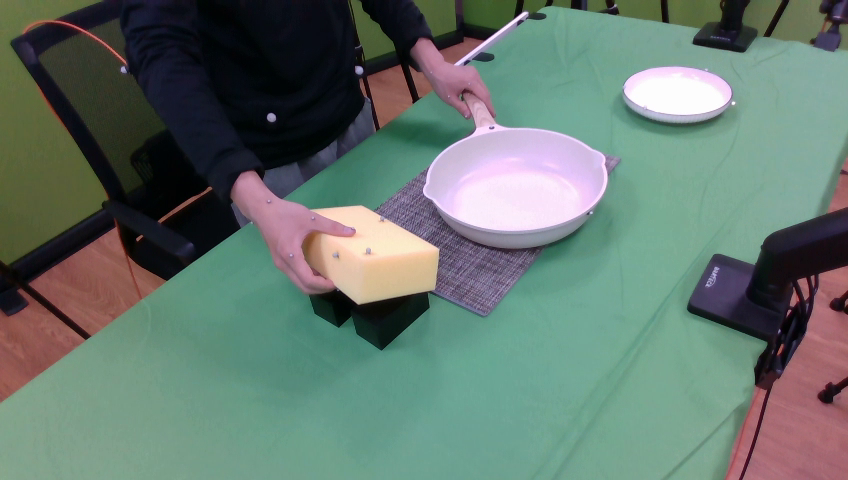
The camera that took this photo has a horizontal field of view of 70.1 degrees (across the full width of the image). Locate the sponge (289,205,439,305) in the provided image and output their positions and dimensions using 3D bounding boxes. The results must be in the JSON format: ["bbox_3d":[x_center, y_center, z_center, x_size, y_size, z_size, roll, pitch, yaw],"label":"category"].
[{"bbox_3d":[-0.089,0.013,0.831,0.119,0.061,0.205,-9,24,-36],"label":"sponge"}]

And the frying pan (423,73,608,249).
[{"bbox_3d":[0.129,-0.160,1.069,0.307,0.103,0.484,-11,49,-6],"label":"frying pan"}]

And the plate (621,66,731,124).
[{"bbox_3d":[0.503,-0.288,1.221,0.207,0.039,0.206,-4,41,4],"label":"plate"}]
